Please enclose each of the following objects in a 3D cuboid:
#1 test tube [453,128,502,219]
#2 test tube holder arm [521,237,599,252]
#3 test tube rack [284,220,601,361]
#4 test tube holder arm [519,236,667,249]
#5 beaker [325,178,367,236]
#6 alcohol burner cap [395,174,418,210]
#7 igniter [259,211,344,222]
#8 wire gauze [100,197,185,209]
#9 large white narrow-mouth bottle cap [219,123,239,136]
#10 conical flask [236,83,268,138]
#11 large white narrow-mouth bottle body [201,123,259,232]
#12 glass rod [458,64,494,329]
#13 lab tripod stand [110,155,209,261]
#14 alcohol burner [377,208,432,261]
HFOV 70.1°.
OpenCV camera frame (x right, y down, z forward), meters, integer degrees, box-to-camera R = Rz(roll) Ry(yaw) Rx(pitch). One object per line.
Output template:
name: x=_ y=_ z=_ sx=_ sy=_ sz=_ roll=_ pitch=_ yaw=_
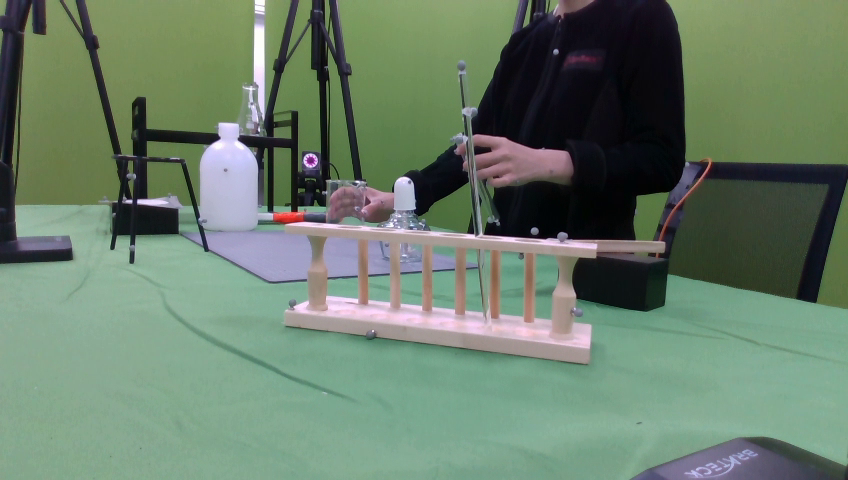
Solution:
test tube: x=0.083 y=-0.101 z=0.927 sx=0.017 sy=0.150 sz=0.017 roll=-26 pitch=4 yaw=2
test tube holder arm: x=0.144 y=0.004 z=0.635 sx=0.088 sy=0.015 sz=0.010 roll=0 pitch=14 yaw=-19
test tube rack: x=0.013 y=0.032 z=0.482 sx=0.242 sy=0.085 sz=0.067 roll=4 pitch=7 yaw=16
test tube holder arm: x=0.186 y=0.003 z=0.655 sx=0.179 sy=0.015 sz=0.013 roll=0 pitch=14 yaw=-18
beaker: x=-0.138 y=-0.060 z=1.083 sx=0.074 sy=0.100 sz=0.083 roll=-3 pitch=10 yaw=-30
alcohol burner cap: x=-0.026 y=-0.067 z=0.833 sx=0.034 sy=0.048 sz=0.034 roll=-2 pitch=12 yaw=1
igniter: x=-0.302 y=-0.047 z=1.249 sx=0.278 sy=0.025 sz=0.057 roll=-2 pitch=-2 yaw=-27
wire gauze: x=-0.469 y=-0.062 z=1.008 sx=0.126 sy=0.011 sz=0.121 roll=-2 pitch=8 yaw=-25
large white narrow-mouth bottle cap: x=-0.356 y=-0.201 z=1.105 sx=0.038 sy=0.024 sz=0.037 roll=2 pitch=8 yaw=0
conical flask: x=-0.400 y=-0.298 z=1.396 sx=0.075 sy=0.122 sz=0.075 roll=2 pitch=8 yaw=0
large white narrow-mouth bottle body: x=-0.358 y=-0.116 z=1.116 sx=0.102 sy=0.194 sz=0.102 roll=2 pitch=8 yaw=0
glass rod: x=0.040 y=-0.029 z=0.450 sx=0.008 sy=0.199 sz=0.008 roll=-7 pitch=9 yaw=1
lab tripod stand: x=-0.361 y=-0.046 z=0.806 sx=0.148 sy=0.131 sz=0.148 roll=2 pitch=5 yaw=0
alcohol burner: x=-0.027 y=-0.031 z=0.838 sx=0.078 sy=0.119 sz=0.078 roll=0 pitch=6 yaw=0
